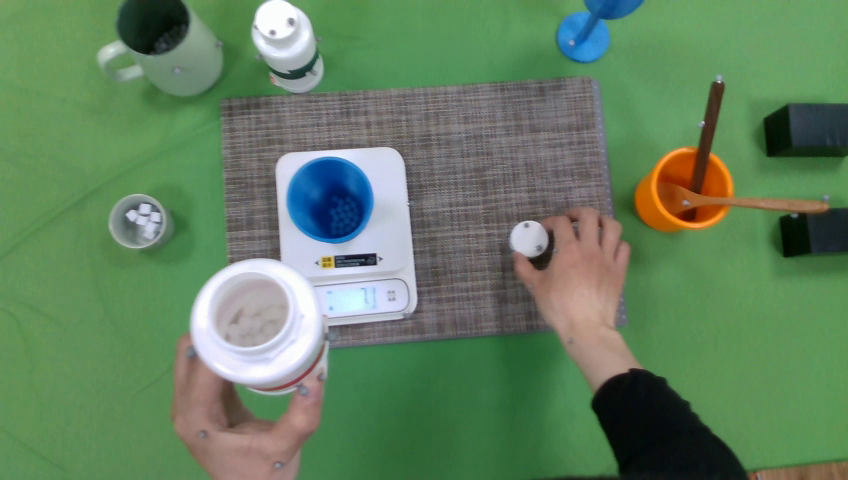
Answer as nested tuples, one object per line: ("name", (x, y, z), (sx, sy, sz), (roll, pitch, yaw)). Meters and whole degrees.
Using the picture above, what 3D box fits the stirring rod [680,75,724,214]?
("stirring rod", (0.303, -0.098, 0.665), (0.014, 0.178, 0.005), (2, 42, 11))

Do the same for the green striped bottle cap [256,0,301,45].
("green striped bottle cap", (-0.150, -0.225, 0.624), (0.044, 0.020, 0.044), (0, 83, -2))

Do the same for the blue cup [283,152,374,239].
("blue cup", (-0.094, -0.038, 0.632), (0.093, 0.100, 0.092), (0, 85, -4))

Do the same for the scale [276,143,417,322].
("scale", (-0.089, -0.010, 0.694), (0.149, 0.031, 0.200), (-5, 84, -3))

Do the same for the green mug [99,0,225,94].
("green mug", (-0.296, -0.214, 0.677), (0.125, 0.105, 0.092), (-26, 85, -5))

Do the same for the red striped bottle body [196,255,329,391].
("red striped bottle body", (-0.085, 0.047, 0.331), (0.063, 0.120, 0.062), (2, 72, -7))

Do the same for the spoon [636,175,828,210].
("spoon", (0.326, -0.048, 0.660), (0.022, 0.192, 0.041), (10, 89, -44))

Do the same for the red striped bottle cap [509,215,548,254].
("red striped bottle cap", (0.122, -0.006, 0.703), (0.044, 0.018, 0.044), (1, 80, -5))

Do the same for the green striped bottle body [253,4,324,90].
("green striped bottle body", (-0.151, -0.218, 0.675), (0.063, 0.119, 0.063), (0, 82, -2))

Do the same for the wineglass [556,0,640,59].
("wineglass", (0.198, -0.267, 0.668), (0.074, 0.172, 0.073), (0, 83, -1))

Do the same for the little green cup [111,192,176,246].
("little green cup", (-0.314, -0.021, 0.686), (0.061, 0.038, 0.061), (0, 83, -3))
